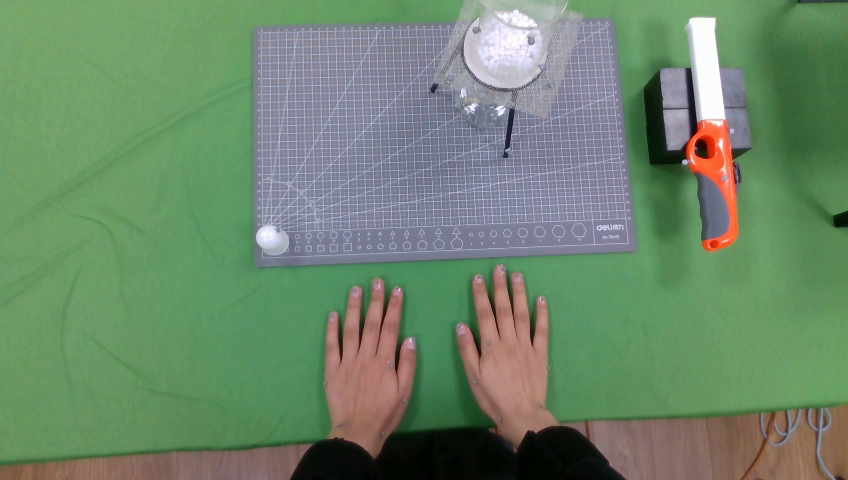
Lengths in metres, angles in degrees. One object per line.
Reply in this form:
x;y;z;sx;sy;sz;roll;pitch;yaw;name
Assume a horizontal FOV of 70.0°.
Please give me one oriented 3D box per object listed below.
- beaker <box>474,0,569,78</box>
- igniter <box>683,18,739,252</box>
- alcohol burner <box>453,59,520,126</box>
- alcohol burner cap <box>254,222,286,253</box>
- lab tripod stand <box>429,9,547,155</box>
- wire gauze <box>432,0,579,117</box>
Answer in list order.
0.083;-0.203;0.566;0.084;0.100;0.073;-2;78;-2;beaker
0.322;-0.122;0.687;0.057;0.025;0.275;0;79;1;igniter
0.073;-0.175;0.686;0.078;0.119;0.077;0;82;-1;alcohol burner
-0.176;-0.005;0.683;0.034;0.048;0.033;1;79;-4;alcohol burner cap
0.081;-0.186;0.679;0.148;0.132;0.147;0;78;-2;lab tripod stand
0.085;-0.195;0.614;0.121;0.011;0.124;20;76;-1;wire gauze
